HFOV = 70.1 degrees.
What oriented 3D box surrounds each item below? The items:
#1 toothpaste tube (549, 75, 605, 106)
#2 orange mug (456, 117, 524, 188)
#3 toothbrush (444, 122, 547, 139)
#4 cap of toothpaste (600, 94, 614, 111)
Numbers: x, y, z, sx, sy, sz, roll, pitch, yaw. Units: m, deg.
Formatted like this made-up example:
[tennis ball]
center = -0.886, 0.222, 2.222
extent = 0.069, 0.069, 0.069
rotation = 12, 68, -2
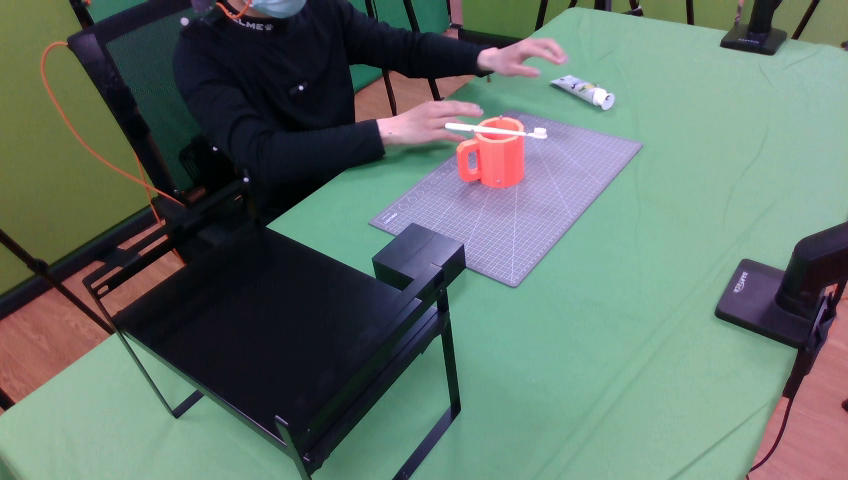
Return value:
[toothpaste tube]
center = 0.339, -0.324, 1.299
extent = 0.055, 0.034, 0.163
rotation = -16, 38, -21
[orange mug]
center = 0.117, -0.152, 1.071
extent = 0.127, 0.101, 0.083
rotation = -14, 41, -15
[toothbrush]
center = 0.121, -0.190, 1.034
extent = 0.181, 0.017, 0.014
rotation = 10, 46, 18
[cap of toothpaste]
center = 0.373, -0.283, 1.238
extent = 0.037, 0.037, 0.011
rotation = -28, 46, -23
